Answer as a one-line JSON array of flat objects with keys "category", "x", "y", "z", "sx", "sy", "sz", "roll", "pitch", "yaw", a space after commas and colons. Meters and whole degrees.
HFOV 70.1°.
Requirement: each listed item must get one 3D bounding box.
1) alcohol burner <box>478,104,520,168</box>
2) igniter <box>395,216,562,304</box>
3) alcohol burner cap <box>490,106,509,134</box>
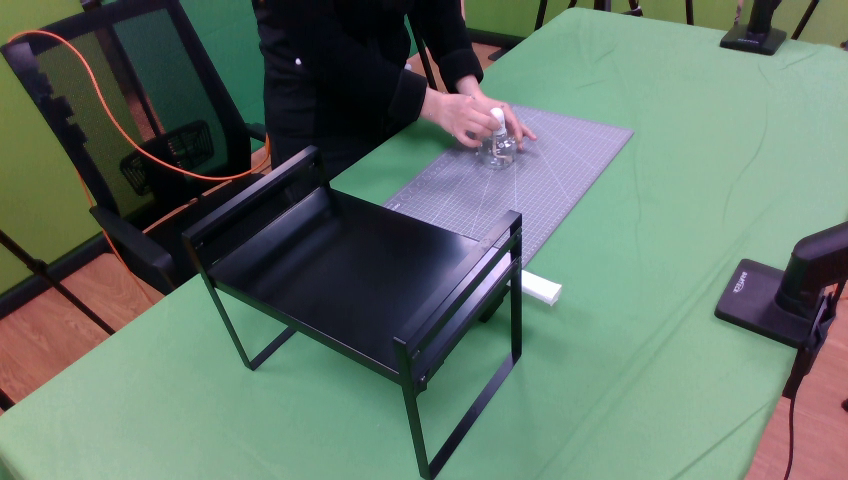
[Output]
[{"category": "alcohol burner", "x": 0.136, "y": -0.194, "z": 1.107, "sx": 0.078, "sy": 0.119, "sz": 0.077, "roll": -6, "pitch": 39, "yaw": 5}, {"category": "igniter", "x": 0.066, "y": 0.023, "z": 0.864, "sx": 0.274, "sy": 0.025, "sz": 0.057, "roll": 24, "pitch": 48, "yaw": 28}, {"category": "alcohol burner cap", "x": 0.133, "y": -0.218, "z": 1.087, "sx": 0.034, "sy": 0.048, "sz": 0.033, "roll": -9, "pitch": 47, "yaw": 10}]
